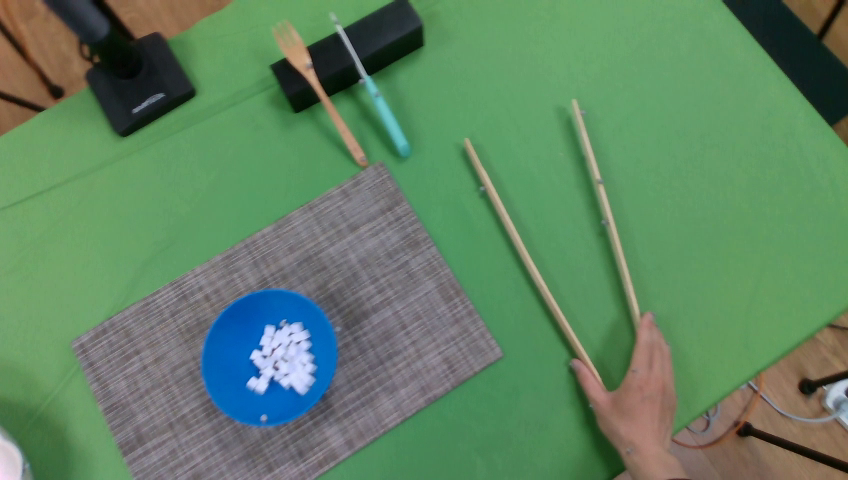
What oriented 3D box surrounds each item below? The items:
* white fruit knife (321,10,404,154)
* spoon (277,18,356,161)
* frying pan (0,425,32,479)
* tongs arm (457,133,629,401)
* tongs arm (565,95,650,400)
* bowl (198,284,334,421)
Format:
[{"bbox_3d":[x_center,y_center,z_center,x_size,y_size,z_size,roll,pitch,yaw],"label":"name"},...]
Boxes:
[{"bbox_3d":[-0.081,-0.206,0.784,0.016,0.027,0.207,-31,93,-11],"label":"white fruit knife"},{"bbox_3d":[-0.135,-0.189,0.775,0.041,0.021,0.194,-21,98,19],"label":"spoon"},{"bbox_3d":[-0.523,0.400,0.643,0.307,0.103,0.484,-32,70,-5],"label":"frying pan"},{"bbox_3d":[0.137,0.029,0.751,0.028,0.028,0.385,-27,79,-7],"label":"tongs arm"},{"bbox_3d":[0.213,0.002,0.752,0.051,0.026,0.383,-15,79,-2],"label":"tongs arm"},{"bbox_3d":[-0.174,0.132,0.706,0.151,0.077,0.150,0,77,1],"label":"bowl"}]
